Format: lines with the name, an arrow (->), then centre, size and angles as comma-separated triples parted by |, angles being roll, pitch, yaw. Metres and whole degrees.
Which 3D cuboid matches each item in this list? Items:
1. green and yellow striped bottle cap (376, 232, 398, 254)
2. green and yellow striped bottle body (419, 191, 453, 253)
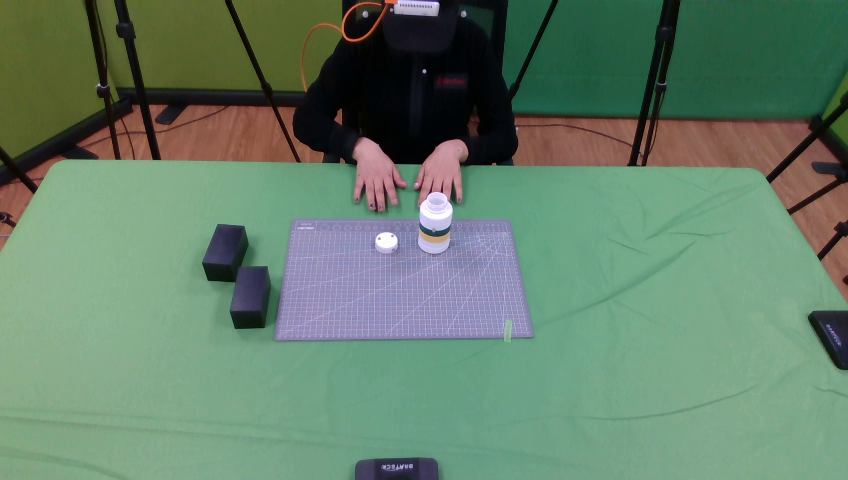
green and yellow striped bottle cap -> -0.073, 0.005, 1.187 | 0.045, 0.020, 0.045 | 2, 45, -2
green and yellow striped bottle body -> 0.023, -0.036, 1.160 | 0.063, 0.120, 0.063 | 2, 46, -2
